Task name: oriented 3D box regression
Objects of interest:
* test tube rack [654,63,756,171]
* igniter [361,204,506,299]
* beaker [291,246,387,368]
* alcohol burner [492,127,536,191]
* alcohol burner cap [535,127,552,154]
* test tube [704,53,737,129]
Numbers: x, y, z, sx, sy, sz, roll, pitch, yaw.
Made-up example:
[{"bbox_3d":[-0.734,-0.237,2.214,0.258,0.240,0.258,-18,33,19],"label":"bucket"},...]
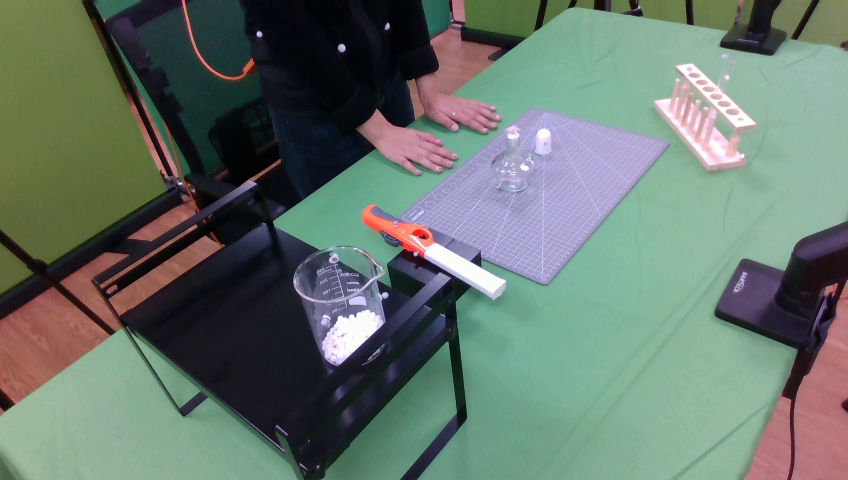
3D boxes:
[{"bbox_3d":[0.510,-0.233,1.120,0.067,0.085,0.241,-8,41,-1],"label":"test tube rack"},{"bbox_3d":[0.003,0.009,0.887,0.274,0.025,0.057,30,50,33],"label":"igniter"},{"bbox_3d":[-0.073,0.066,0.573,0.084,0.101,0.073,-7,41,0],"label":"beaker"},{"bbox_3d":[0.156,-0.146,1.046,0.078,0.119,0.077,-4,43,4],"label":"alcohol burner"},{"bbox_3d":[0.227,-0.190,1.141,0.034,0.048,0.033,-3,40,3],"label":"alcohol burner cap"},{"bbox_3d":[0.526,-0.261,1.075,0.017,0.151,0.017,-2,44,2],"label":"test tube"}]
